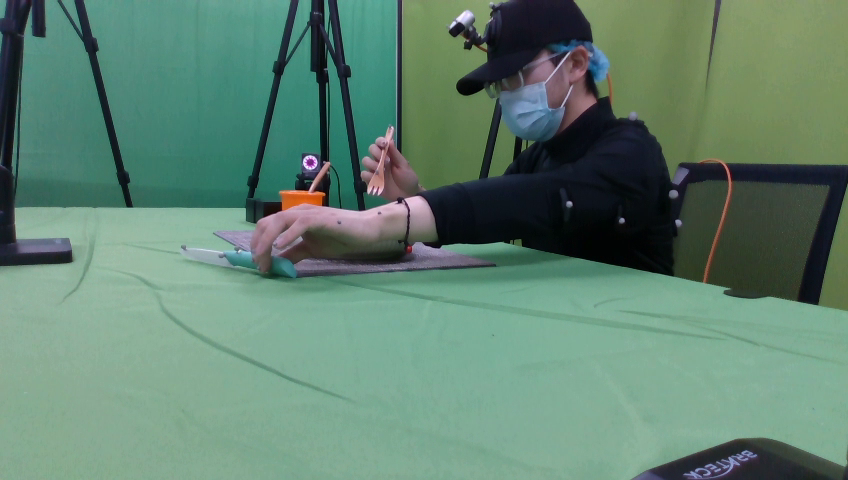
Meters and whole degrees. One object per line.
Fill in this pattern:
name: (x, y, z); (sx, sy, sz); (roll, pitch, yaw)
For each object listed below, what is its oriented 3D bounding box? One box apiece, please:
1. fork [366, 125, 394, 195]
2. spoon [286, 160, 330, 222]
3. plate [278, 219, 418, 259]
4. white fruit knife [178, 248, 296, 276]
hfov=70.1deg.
fork: (-0.077, -0.150, 1.107); (0.028, 0.018, 0.207); (8, 49, 2)
spoon: (-0.233, -0.101, 1.252); (0.041, 0.193, 0.022); (3, -38, 23)
plate: (-0.114, -0.002, 0.914); (0.209, 0.038, 0.209); (2, 8, 0)
white fruit knife: (-0.240, 0.023, 0.754); (0.206, 0.027, 0.016); (5, 34, 31)
